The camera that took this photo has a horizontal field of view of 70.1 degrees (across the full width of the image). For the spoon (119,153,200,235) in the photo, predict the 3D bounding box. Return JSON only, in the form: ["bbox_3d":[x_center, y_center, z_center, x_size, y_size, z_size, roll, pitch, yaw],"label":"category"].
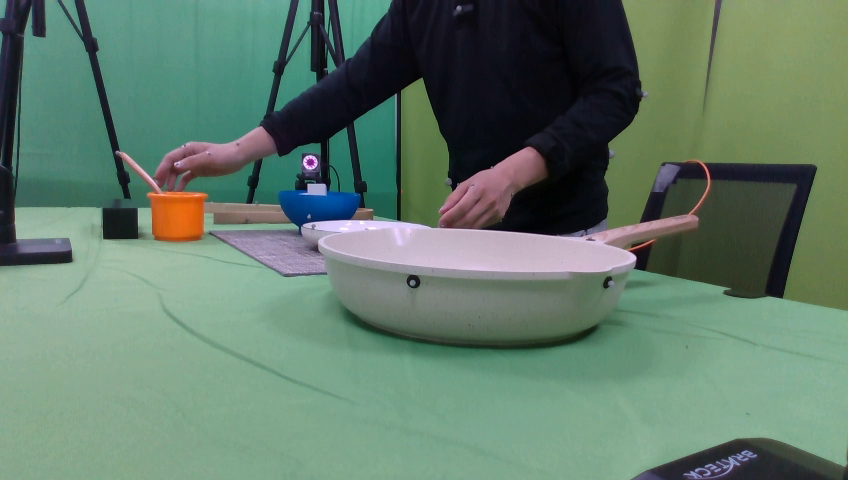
[{"bbox_3d":[-0.439,-0.077,1.000,0.021,0.193,0.042,-43,-7,21],"label":"spoon"}]

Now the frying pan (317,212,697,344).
[{"bbox_3d":[0.133,0.013,0.629,0.490,0.102,0.305,-12,14,-31],"label":"frying pan"}]

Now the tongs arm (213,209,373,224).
[{"bbox_3d":[-0.274,-0.053,1.347,0.390,0.028,0.028,-3,7,-37],"label":"tongs arm"}]

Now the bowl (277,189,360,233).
[{"bbox_3d":[-0.194,-0.052,1.114,0.151,0.077,0.151,2,7,0],"label":"bowl"}]

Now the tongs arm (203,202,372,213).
[{"bbox_3d":[-0.312,-0.068,1.417,0.387,0.026,0.050,1,9,-24],"label":"tongs arm"}]

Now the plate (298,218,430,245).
[{"bbox_3d":[-0.091,-0.006,0.949,0.208,0.039,0.207,2,7,0],"label":"plate"}]
